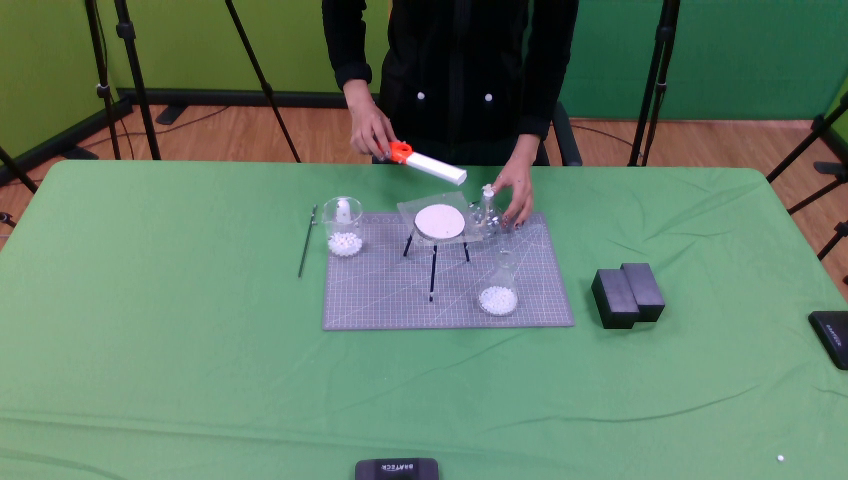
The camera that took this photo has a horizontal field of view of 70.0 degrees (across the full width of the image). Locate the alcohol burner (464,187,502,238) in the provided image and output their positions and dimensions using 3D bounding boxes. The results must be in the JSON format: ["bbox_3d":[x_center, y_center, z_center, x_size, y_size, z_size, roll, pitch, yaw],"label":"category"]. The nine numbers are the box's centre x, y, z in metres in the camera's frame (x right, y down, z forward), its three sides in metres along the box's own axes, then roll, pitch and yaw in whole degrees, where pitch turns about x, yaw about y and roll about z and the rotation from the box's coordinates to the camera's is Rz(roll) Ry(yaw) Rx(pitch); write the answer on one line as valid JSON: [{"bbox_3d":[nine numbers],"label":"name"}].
[{"bbox_3d":[0.120,-0.061,1.201,0.078,0.119,0.077,3,47,-4],"label":"alcohol burner"}]

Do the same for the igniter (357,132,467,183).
[{"bbox_3d":[-0.034,-0.167,1.202,0.275,0.025,0.057,25,53,32],"label":"igniter"}]

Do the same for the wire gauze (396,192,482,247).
[{"bbox_3d":[0.025,-0.036,1.061,0.125,0.011,0.120,-9,47,-14],"label":"wire gauze"}]

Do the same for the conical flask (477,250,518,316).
[{"bbox_3d":[0.136,0.072,1.067,0.075,0.122,0.075,2,46,-2],"label":"conical flask"}]

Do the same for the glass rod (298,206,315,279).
[{"bbox_3d":[-0.231,0.000,1.191,0.008,0.008,0.198,2,46,-2],"label":"glass rod"}]

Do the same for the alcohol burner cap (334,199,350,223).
[{"bbox_3d":[-0.167,-0.061,1.227,0.034,0.048,0.033,2,46,-2],"label":"alcohol burner cap"}]

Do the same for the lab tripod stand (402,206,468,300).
[{"bbox_3d":[0.023,0.013,1.108,0.148,0.132,0.147,3,44,-2],"label":"lab tripod stand"}]

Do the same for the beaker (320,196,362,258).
[{"bbox_3d":[-0.156,-0.021,1.150,0.084,0.101,0.073,-30,55,-28],"label":"beaker"}]
